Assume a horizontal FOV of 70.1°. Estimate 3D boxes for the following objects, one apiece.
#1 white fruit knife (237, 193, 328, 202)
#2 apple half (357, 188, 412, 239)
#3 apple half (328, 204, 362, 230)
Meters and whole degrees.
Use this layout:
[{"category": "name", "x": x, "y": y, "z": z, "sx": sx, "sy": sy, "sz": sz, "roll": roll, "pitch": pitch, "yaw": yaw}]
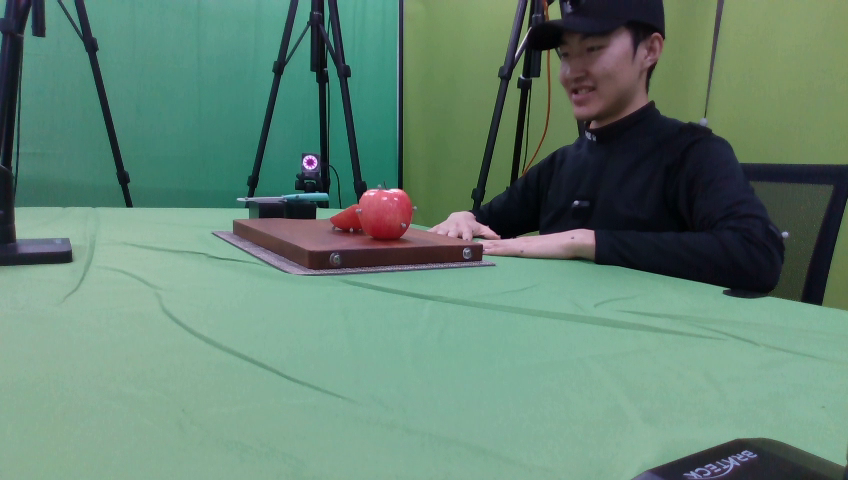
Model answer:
[{"category": "white fruit knife", "x": -0.294, "y": -0.088, "z": 1.279, "sx": 0.208, "sy": 0.016, "sz": 0.027, "roll": -6, "pitch": -13, "yaw": -36}, {"category": "apple half", "x": -0.050, "y": -0.037, "z": 0.873, "sx": 0.081, "sy": 0.074, "sz": 0.053, "roll": 2, "pitch": 10, "yaw": -39}, {"category": "apple half", "x": -0.107, "y": -0.034, "z": 0.954, "sx": 0.081, "sy": 0.033, "sz": 0.081, "roll": -19, "pitch": -5, "yaw": -1}]
